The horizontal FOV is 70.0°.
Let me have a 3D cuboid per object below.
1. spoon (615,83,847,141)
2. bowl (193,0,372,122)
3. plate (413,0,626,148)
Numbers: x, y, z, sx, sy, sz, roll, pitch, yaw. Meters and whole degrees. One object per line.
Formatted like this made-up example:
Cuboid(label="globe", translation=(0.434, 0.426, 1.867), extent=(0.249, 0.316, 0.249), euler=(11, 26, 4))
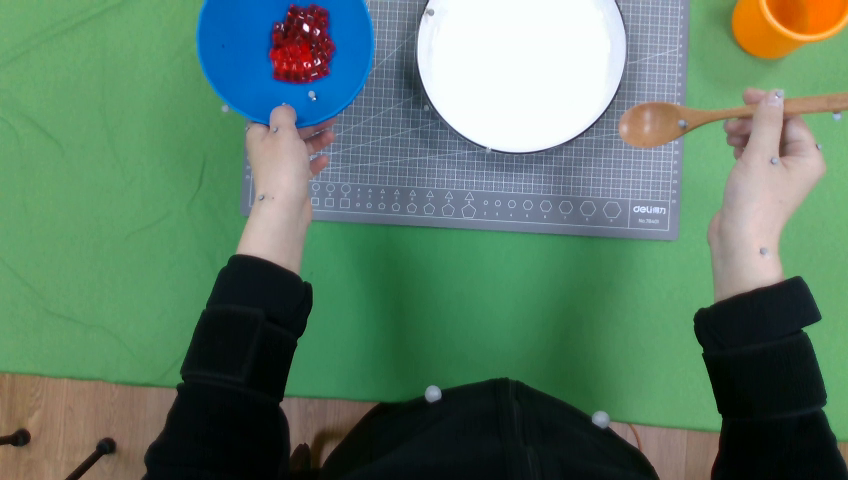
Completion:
Cuboid(label="spoon", translation=(0.240, -0.103, 0.470), extent=(0.022, 0.192, 0.041), euler=(8, 87, -41))
Cuboid(label="bowl", translation=(-0.121, -0.177, 0.550), extent=(0.151, 0.076, 0.151), euler=(0, 92, -5))
Cuboid(label="plate", translation=(0.094, -0.194, 0.607), extent=(0.209, 0.038, 0.209), euler=(0, 89, 1))
